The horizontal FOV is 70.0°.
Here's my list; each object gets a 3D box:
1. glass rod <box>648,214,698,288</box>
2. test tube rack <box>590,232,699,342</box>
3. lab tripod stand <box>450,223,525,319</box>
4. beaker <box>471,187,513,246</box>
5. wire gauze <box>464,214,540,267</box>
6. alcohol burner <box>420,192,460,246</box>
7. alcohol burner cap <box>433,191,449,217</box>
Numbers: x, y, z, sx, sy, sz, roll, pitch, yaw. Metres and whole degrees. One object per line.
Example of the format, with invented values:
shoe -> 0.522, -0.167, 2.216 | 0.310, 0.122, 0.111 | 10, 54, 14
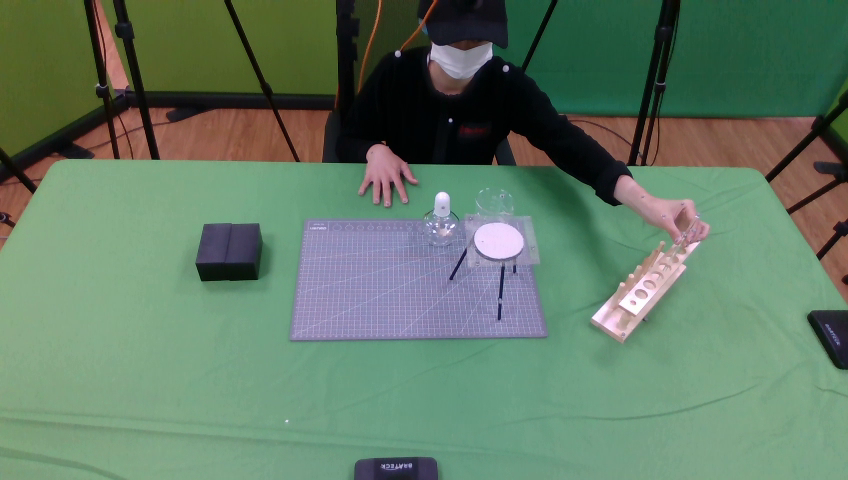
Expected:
glass rod -> 0.436, 0.026, 1.066 | 0.008, 0.200, 0.008 | 5, 47, -5
test tube rack -> 0.407, 0.074, 1.112 | 0.066, 0.085, 0.242 | 35, 53, 26
lab tripod stand -> 0.120, 0.046, 1.080 | 0.148, 0.132, 0.147 | 1, 47, -1
beaker -> 0.134, -0.042, 1.190 | 0.083, 0.101, 0.074 | 34, 53, 25
wire gauze -> 0.131, -0.002, 1.034 | 0.121, 0.011, 0.124 | 1, 45, -2
alcohol burner -> 0.032, -0.046, 1.176 | 0.078, 0.120, 0.077 | 2, 44, -1
alcohol burner cap -> 0.033, -0.070, 1.150 | 0.034, 0.048, 0.033 | 0, 45, 0
